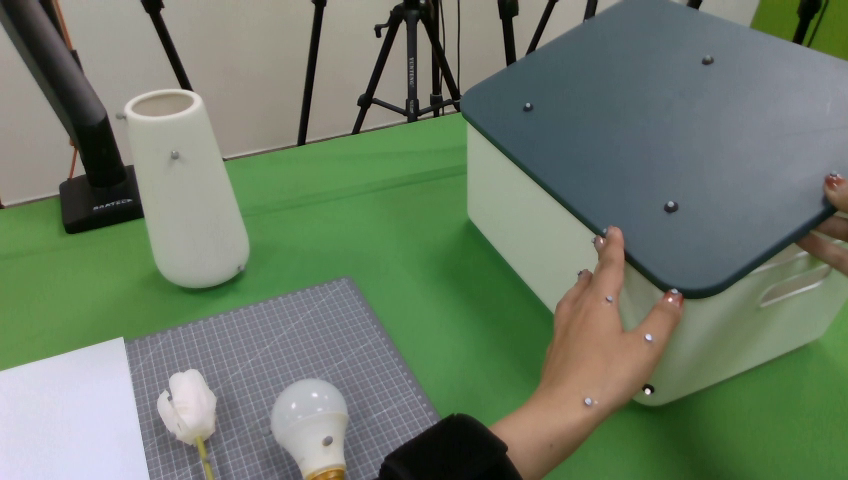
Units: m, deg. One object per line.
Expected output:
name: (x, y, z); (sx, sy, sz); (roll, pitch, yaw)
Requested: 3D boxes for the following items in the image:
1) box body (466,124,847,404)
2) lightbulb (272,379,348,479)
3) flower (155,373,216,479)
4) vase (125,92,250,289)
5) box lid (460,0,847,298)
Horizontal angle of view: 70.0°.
box body: (0.227, -0.028, 0.644); (0.255, 0.162, 0.359); (-15, 39, -20)
lightbulb: (-0.083, 0.159, 0.472); (0.060, 0.060, 0.106); (-13, 54, -18)
flower: (-0.121, 0.229, 0.409); (0.044, 0.038, 0.357); (-40, 51, -3)
vase: (-0.243, -0.046, 0.623); (0.098, 0.202, 0.097); (0, 36, 1)
box lid: (0.216, -0.118, 0.560); (0.263, 0.015, 0.367); (-33, 43, -5)
